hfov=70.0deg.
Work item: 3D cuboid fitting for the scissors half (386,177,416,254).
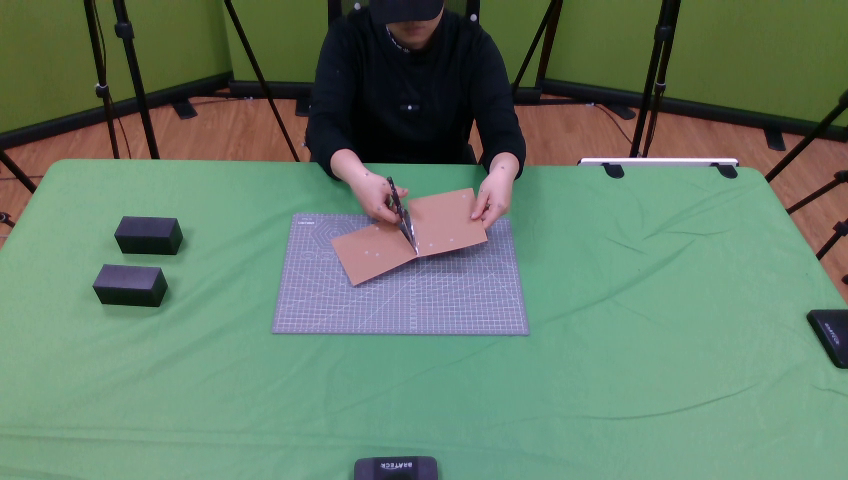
[{"bbox_3d":[-0.044,-0.047,1.169,0.013,0.040,0.174,-20,73,-2],"label":"scissors half"}]

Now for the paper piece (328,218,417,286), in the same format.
[{"bbox_3d":[-0.101,0.018,1.162,0.135,0.004,0.135,-22,46,-13],"label":"paper piece"}]

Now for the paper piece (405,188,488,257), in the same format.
[{"bbox_3d":[0.041,-0.037,1.168,0.138,0.009,0.135,-10,61,-2],"label":"paper piece"}]

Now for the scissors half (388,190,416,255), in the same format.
[{"bbox_3d":[-0.042,-0.037,1.187,0.013,0.040,0.174,-17,51,-6],"label":"scissors half"}]
